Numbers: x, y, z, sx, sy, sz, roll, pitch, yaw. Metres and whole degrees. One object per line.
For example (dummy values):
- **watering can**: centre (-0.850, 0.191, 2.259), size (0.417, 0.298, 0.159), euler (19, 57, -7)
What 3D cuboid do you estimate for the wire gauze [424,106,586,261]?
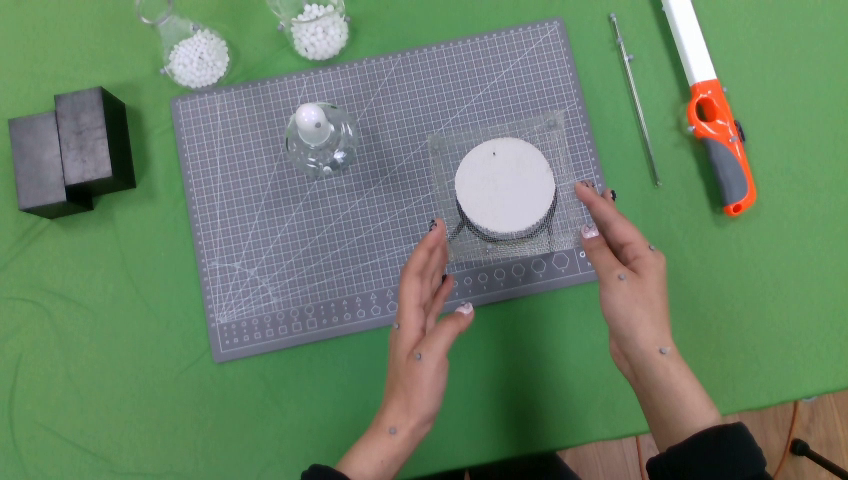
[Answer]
- **wire gauze**: centre (0.069, -0.048, 0.525), size (0.125, 0.011, 0.121), euler (-9, 83, 2)

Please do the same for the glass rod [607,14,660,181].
- **glass rod**: centre (0.232, -0.160, 0.672), size (0.008, 0.008, 0.199), euler (-13, 82, -1)

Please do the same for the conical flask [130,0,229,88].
- **conical flask**: centre (-0.257, -0.213, 0.627), size (0.075, 0.122, 0.075), euler (0, 82, 1)

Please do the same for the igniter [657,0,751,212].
- **igniter**: centre (0.303, -0.165, 0.663), size (0.057, 0.025, 0.275), euler (-13, 83, -12)

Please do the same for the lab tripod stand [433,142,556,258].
- **lab tripod stand**: centre (0.069, -0.031, 0.592), size (0.148, 0.132, 0.148), euler (0, 84, 1)

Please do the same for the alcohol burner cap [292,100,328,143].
- **alcohol burner cap**: centre (-0.110, -0.116, 0.578), size (0.034, 0.048, 0.033), euler (1, 81, -5)

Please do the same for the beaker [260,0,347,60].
- **beaker**: centre (-0.120, -0.241, 0.641), size (0.084, 0.100, 0.074), euler (23, 83, 3)

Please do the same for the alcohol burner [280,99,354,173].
- **alcohol burner**: centre (-0.111, -0.110, 0.614), size (0.078, 0.119, 0.077), euler (0, 84, 0)
